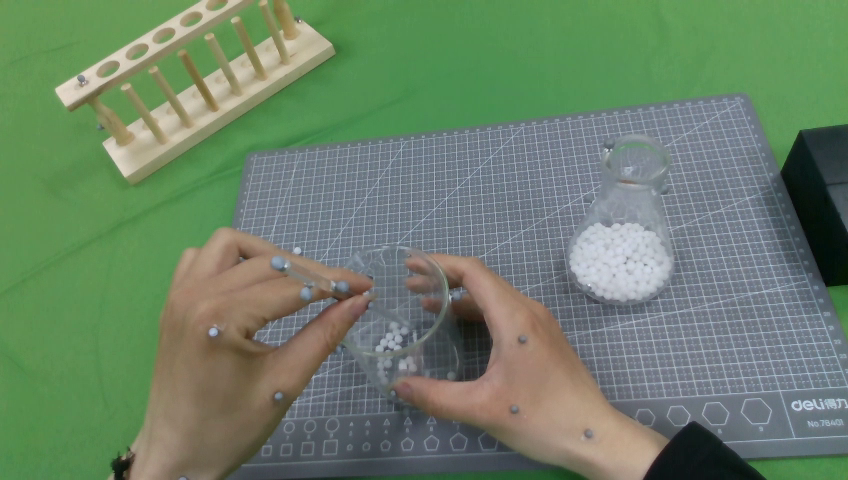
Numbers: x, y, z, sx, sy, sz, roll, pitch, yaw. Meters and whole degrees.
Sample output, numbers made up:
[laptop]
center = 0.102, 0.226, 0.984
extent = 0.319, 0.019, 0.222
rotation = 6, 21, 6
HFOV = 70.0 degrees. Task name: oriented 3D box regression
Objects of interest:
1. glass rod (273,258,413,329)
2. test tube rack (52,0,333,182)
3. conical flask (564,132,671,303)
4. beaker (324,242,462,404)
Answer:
[glass rod]
center = -0.037, 0.037, 0.354
extent = 0.008, 0.201, 0.008
rotation = -4, 73, 15
[test tube rack]
center = -0.215, -0.169, 0.590
extent = 0.242, 0.086, 0.066
rotation = -38, 58, -13
[conical flask]
center = 0.131, -0.016, 0.398
extent = 0.075, 0.123, 0.074
rotation = -5, 57, 8
[beaker]
center = -0.016, 0.057, 0.395
extent = 0.074, 0.101, 0.083
rotation = -31, 56, -10
